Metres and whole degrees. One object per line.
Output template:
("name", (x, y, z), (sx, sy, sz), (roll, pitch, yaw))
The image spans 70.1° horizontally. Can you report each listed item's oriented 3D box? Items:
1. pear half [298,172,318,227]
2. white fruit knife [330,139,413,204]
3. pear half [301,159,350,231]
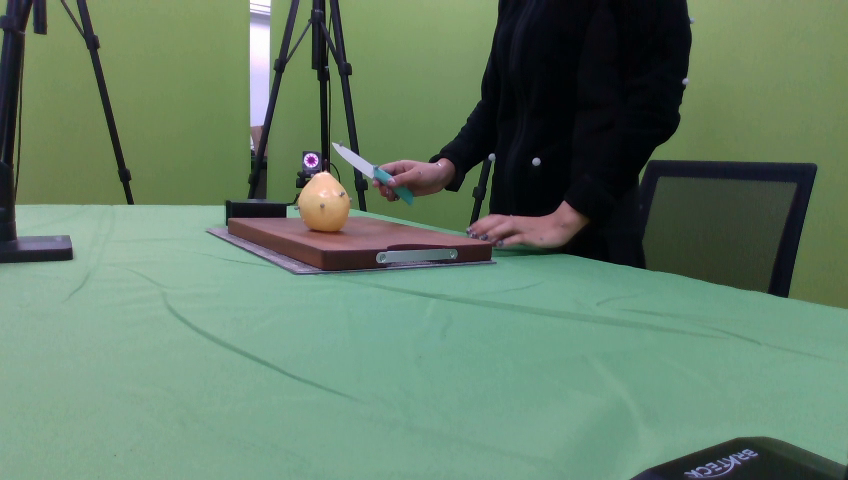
("pear half", (-0.172, -0.062, 0.938), (0.031, 0.088, 0.071), (8, 14, 34))
("white fruit knife", (-0.089, -0.124, 1.083), (0.016, 0.027, 0.208), (3, -22, 47))
("pear half", (-0.143, -0.068, 0.917), (0.055, 0.110, 0.077), (8, 12, 34))
